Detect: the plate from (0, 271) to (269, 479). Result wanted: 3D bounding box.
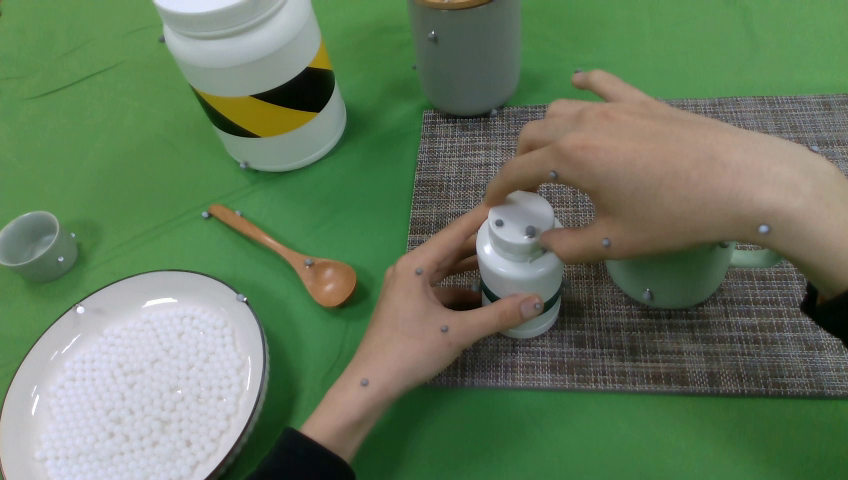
[{"bbox_3d":[-0.219,0.121,0.473,0.209,0.038,0.207,-4,56,6],"label":"plate"}]

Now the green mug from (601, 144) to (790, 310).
[{"bbox_3d":[0.201,-0.005,0.452,0.125,0.106,0.092,9,57,13],"label":"green mug"}]

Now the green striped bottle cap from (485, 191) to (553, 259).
[{"bbox_3d":[0.063,-0.010,0.400,0.044,0.020,0.044,-2,56,4],"label":"green striped bottle cap"}]

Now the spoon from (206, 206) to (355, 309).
[{"bbox_3d":[-0.135,0.007,0.547,0.192,0.022,0.041,29,83,24],"label":"spoon"}]

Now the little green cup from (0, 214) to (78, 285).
[{"bbox_3d":[-0.361,0.011,0.568,0.061,0.039,0.061,-3,56,5],"label":"little green cup"}]

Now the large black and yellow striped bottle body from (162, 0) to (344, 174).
[{"bbox_3d":[-0.158,-0.166,0.569,0.130,0.186,0.129,-4,56,6],"label":"large black and yellow striped bottle body"}]

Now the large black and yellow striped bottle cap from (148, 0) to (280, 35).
[{"bbox_3d":[-0.170,-0.212,0.500,0.115,0.019,0.114,-3,55,5],"label":"large black and yellow striped bottle cap"}]

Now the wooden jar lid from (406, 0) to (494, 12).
[{"bbox_3d":[0.031,-0.233,0.543,0.108,0.021,0.107,-6,54,8],"label":"wooden jar lid"}]

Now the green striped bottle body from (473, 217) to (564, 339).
[{"bbox_3d":[0.070,0.021,0.444,0.063,0.120,0.062,-4,56,7],"label":"green striped bottle body"}]

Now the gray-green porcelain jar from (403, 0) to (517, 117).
[{"bbox_3d":[0.038,-0.194,0.592,0.106,0.128,0.105,-4,52,5],"label":"gray-green porcelain jar"}]
